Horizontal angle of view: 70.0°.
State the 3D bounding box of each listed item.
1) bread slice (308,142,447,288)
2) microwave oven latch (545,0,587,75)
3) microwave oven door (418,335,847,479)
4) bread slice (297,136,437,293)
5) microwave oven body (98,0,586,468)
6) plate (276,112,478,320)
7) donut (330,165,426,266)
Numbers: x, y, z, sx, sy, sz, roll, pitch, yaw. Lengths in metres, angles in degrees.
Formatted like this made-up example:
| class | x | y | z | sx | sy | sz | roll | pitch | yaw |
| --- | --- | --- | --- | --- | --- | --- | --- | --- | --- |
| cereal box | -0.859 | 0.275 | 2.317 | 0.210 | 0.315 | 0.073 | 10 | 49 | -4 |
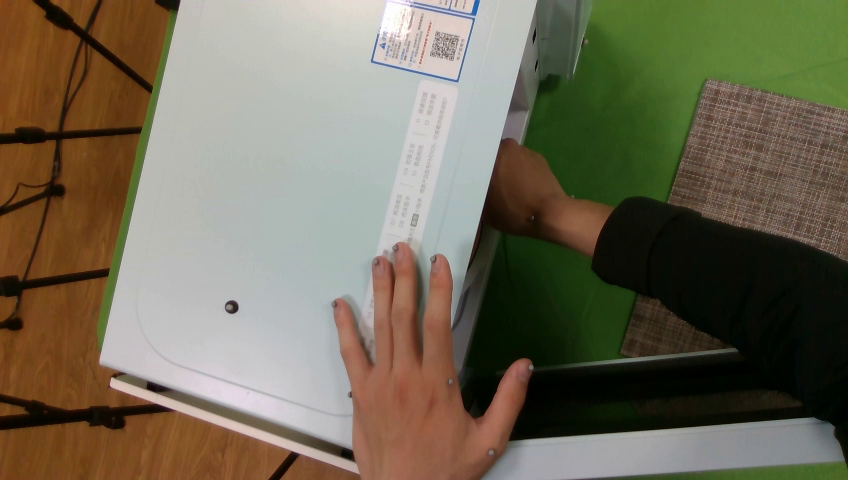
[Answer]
| class | x | y | z | sx | sy | sz | roll | pitch | yaw |
| --- | --- | --- | --- | --- | --- | --- | --- | --- | --- |
| bread slice | -0.056 | -0.030 | 0.611 | 0.107 | 0.018 | 0.133 | -32 | 80 | -1 |
| microwave oven latch | 0.145 | -0.213 | 0.622 | 0.030 | 0.029 | 0.079 | 15 | 94 | 10 |
| microwave oven door | 0.191 | 0.138 | 0.516 | 0.355 | 0.244 | 0.039 | -9 | 88 | 11 |
| bread slice | -0.062 | -0.027 | 0.562 | 0.105 | 0.019 | 0.131 | -27 | 88 | 14 |
| microwave oven body | -0.059 | -0.079 | 0.566 | 0.325 | 0.260 | 0.442 | 15 | 94 | 10 |
| plate | -0.047 | -0.023 | 0.618 | 0.207 | 0.039 | 0.207 | 0 | 91 | 11 |
| donut | -0.045 | -0.024 | 0.589 | 0.099 | 0.048 | 0.099 | 0 | 91 | 17 |
